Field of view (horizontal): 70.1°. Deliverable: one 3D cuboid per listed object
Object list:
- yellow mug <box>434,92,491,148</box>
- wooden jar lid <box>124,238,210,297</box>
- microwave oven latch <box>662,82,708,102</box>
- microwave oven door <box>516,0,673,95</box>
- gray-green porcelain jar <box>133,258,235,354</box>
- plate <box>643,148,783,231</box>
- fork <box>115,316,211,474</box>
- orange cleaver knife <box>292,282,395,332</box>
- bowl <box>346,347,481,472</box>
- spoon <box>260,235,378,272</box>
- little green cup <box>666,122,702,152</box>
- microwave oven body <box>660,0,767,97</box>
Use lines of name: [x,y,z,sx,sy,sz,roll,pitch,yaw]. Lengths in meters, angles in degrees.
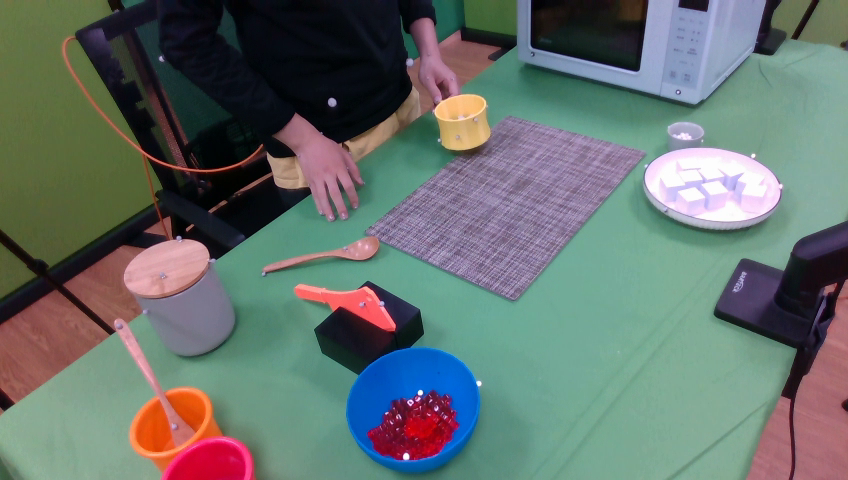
yellow mug: [0.064,-0.237,1.162,0.100,0.064,0.129,-34,43,-21]
wooden jar lid: [-0.334,0.038,0.794,0.108,0.021,0.108,-2,40,2]
microwave oven latch: [0.517,-0.298,1.202,0.078,0.029,0.030,27,52,34]
microwave oven door: [0.344,-0.458,1.256,0.353,0.245,0.039,26,51,33]
gray-green porcelain jar: [-0.328,0.087,0.836,0.106,0.127,0.105,-4,41,4]
plate: [0.464,-0.080,0.986,0.207,0.039,0.206,-4,40,4]
fork: [-0.308,0.179,0.708,0.028,0.018,0.207,-30,89,-23]
orange cleaver knife: [-0.116,0.091,0.835,0.209,0.077,0.012,2,32,48]
bowl: [-0.008,0.205,0.691,0.151,0.077,0.150,-4,40,4]
spoon: [-0.167,0.024,0.966,0.194,0.022,0.041,-10,58,-3]
little green cup: [0.471,-0.184,1.102,0.061,0.039,0.061,-5,41,5]
microwave oven body: [0.473,-0.517,1.314,0.438,0.261,0.327,26,51,34]
